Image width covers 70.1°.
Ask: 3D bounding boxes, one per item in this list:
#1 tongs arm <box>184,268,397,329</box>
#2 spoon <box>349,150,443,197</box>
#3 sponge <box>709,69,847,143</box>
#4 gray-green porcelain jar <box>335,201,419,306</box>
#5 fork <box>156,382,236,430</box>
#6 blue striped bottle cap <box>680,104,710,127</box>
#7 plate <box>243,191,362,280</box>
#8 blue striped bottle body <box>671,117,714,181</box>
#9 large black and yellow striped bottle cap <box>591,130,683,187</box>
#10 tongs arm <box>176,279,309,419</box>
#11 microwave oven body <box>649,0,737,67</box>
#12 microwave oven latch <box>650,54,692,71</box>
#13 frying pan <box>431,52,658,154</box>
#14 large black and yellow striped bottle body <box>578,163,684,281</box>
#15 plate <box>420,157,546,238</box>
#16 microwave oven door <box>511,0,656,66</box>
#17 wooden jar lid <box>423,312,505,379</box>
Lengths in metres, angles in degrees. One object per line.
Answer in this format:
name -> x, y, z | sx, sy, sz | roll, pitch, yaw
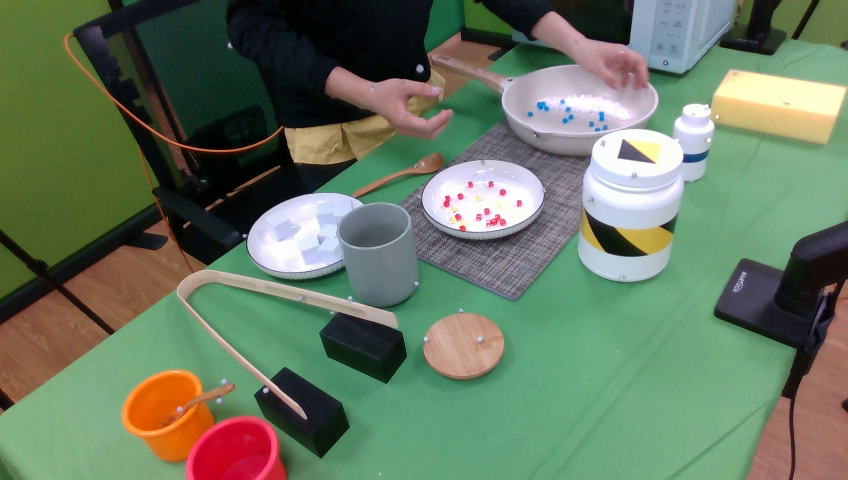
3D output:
tongs arm -> -0.202, 0.084, 0.848 | 0.382, 0.027, 0.051 | 11, 45, 35
spoon -> -0.051, -0.123, 1.120 | 0.194, 0.022, 0.041 | -23, 61, -18
sponge -> 0.663, -0.256, 1.141 | 0.205, 0.061, 0.118 | 18, 47, 28
gray-green porcelain jar -> -0.064, 0.024, 0.872 | 0.106, 0.127, 0.105 | -4, 41, 4
fork -> -0.262, 0.189, 0.690 | 0.018, 0.206, 0.028 | 49, 43, -7
blue striped bottle cap -> 0.443, -0.205, 0.989 | 0.044, 0.021, 0.044 | -1, 41, 2
plate -> -0.187, -0.005, 0.992 | 0.207, 0.039, 0.206 | -4, 40, 4
blue striped bottle body -> 0.449, -0.165, 1.022 | 0.063, 0.121, 0.063 | -5, 41, 4
large black and yellow striped bottle cap -> 0.282, -0.111, 0.803 | 0.115, 0.019, 0.114 | -3, 41, 3
tongs arm -> -0.254, 0.133, 0.802 | 0.028, 0.028, 0.384 | -41, 41, -23
microwave oven body -> 0.475, -0.602, 1.411 | 0.438, 0.261, 0.327 | 23, 50, 32
microwave oven latch -> 0.531, -0.386, 1.301 | 0.078, 0.029, 0.030 | 25, 51, 32
frying pan -> 0.216, -0.302, 1.223 | 0.484, 0.103, 0.308 | 29, 49, 25
large black and yellow striped bottle body -> 0.291, -0.046, 0.859 | 0.131, 0.185, 0.130 | -4, 41, 4
plate -> 0.099, -0.067, 1.017 | 0.209, 0.038, 0.208 | -4, 40, 4
microwave oven door -> 0.351, -0.540, 1.349 | 0.353, 0.245, 0.039 | 24, 50, 31
wooden jar lid -> 0.053, 0.142, 0.800 | 0.108, 0.021, 0.108 | -5, 39, 4
